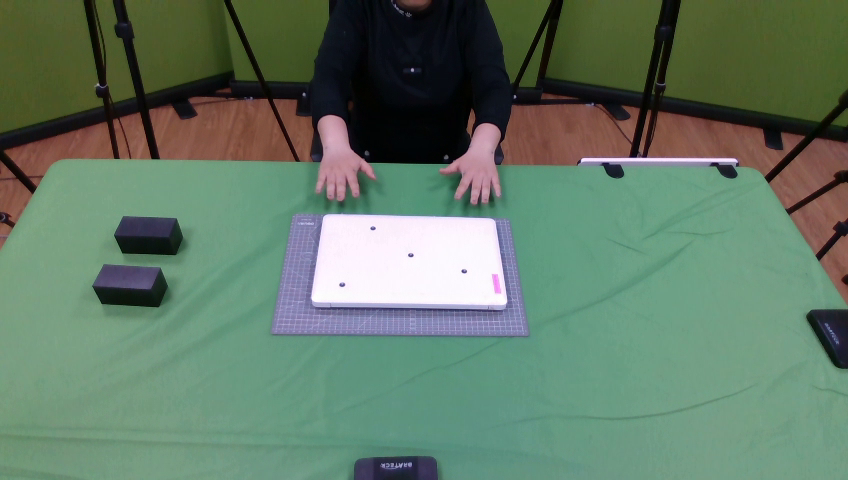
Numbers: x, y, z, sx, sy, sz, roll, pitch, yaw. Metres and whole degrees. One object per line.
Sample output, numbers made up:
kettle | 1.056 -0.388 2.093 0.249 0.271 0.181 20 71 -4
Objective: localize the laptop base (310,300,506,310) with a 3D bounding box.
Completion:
laptop base | -0.029 0.043 1.156 0.354 0.023 0.234 1 42 -3

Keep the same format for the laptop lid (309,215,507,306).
laptop lid | -0.028 0.033 1.149 0.357 0.013 0.240 3 44 -2
